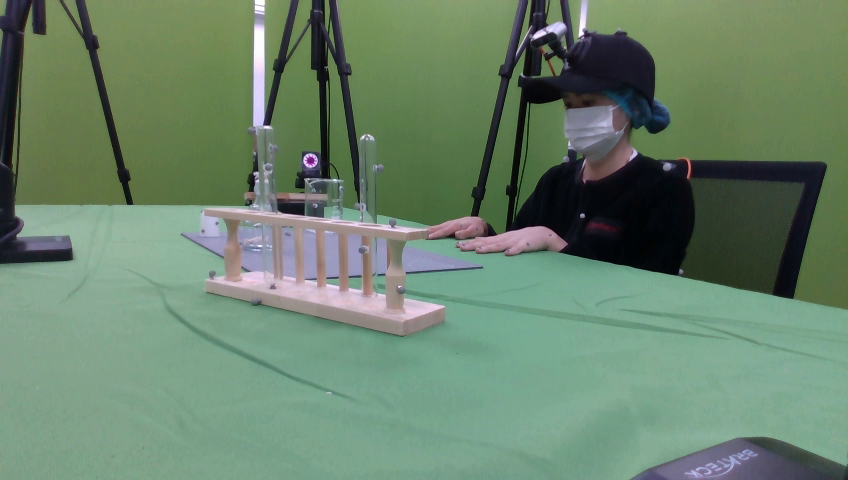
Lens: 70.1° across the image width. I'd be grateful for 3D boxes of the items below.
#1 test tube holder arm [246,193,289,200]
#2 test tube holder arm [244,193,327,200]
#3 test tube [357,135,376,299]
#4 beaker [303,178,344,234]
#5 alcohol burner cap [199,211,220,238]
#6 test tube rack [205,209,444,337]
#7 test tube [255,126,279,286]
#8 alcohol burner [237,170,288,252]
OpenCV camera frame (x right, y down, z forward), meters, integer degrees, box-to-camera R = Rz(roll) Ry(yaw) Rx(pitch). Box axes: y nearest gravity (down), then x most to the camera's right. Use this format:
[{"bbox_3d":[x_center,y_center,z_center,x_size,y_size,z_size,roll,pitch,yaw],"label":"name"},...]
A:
[{"bbox_3d":[-0.317,-0.088,1.226,0.088,0.015,0.010,-3,0,-37],"label":"test tube holder arm"},{"bbox_3d":[-0.284,-0.090,1.258,0.179,0.015,0.013,-3,0,-37],"label":"test tube holder arm"},{"bbox_3d":[-0.052,-0.020,0.552,0.017,0.150,0.017,0,7,0],"label":"test tube"},{"bbox_3d":[-0.189,-0.063,1.119,0.073,0.100,0.084,7,9,28],"label":"beaker"},{"bbox_3d":[-0.356,-0.027,1.002,0.034,0.048,0.034,2,7,0],"label":"alcohol burner cap"},{"bbox_3d":[-0.100,0.021,0.565,0.241,0.085,0.067,7,8,32],"label":"test tube rack"},{"bbox_3d":[-0.147,-0.031,0.567,0.017,0.150,0.017,-1,8,0],"label":"test tube"},{"bbox_3d":[-0.236,-0.042,0.882,0.078,0.119,0.078,2,9,0],"label":"alcohol burner"}]
